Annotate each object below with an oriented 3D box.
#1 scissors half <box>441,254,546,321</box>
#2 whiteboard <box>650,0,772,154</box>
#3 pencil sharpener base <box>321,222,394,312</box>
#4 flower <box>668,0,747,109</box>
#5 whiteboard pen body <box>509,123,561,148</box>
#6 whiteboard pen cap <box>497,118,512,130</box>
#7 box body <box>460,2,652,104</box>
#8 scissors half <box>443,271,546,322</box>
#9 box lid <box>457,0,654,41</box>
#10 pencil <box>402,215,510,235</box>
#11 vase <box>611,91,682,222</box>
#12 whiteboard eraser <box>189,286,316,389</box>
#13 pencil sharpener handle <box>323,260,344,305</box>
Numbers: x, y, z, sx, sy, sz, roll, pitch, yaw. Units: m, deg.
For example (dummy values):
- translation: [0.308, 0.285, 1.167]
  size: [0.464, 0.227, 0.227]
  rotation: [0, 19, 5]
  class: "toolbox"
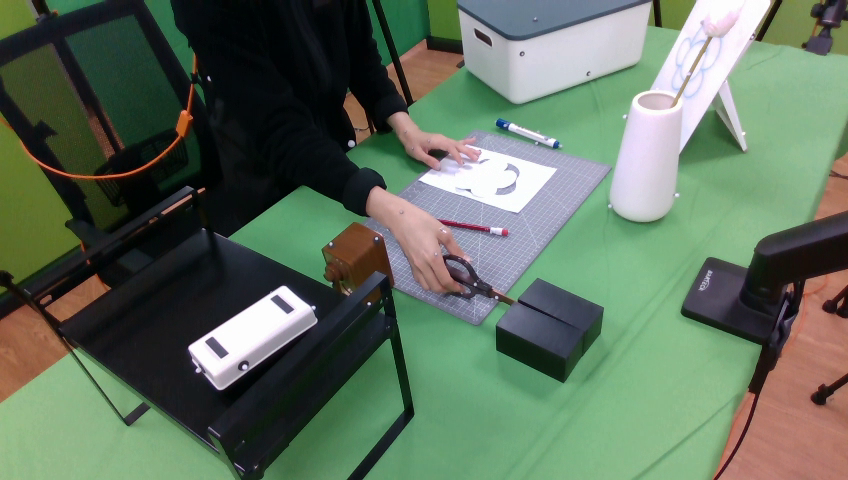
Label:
- translation: [0.092, 0.065, 0.824]
  size: [0.174, 0.040, 0.013]
  rotation: [32, 60, 25]
  class: "scissors half"
- translation: [0.543, -0.298, 1.076]
  size: [0.144, 0.305, 0.216]
  rotation: [12, 40, -7]
  class: "whiteboard"
- translation: [-0.096, 0.041, 0.873]
  size: [0.061, 0.107, 0.077]
  rotation: [25, 54, 32]
  class: "pencil sharpener base"
- translation: [0.354, -0.187, 0.879]
  size: [0.038, 0.362, 0.044]
  rotation: [30, 48, 14]
  class: "flower"
- translation: [0.208, -0.211, 1.196]
  size: [0.139, 0.017, 0.017]
  rotation: [30, 52, 33]
  class: "whiteboard pen body"
- translation: [0.165, -0.235, 1.227]
  size: [0.033, 0.018, 0.018]
  rotation: [31, 53, 31]
  class: "whiteboard pen cap"
- translation: [0.291, -0.465, 1.371]
  size: [0.365, 0.161, 0.252]
  rotation: [-22, 42, -16]
  class: "box body"
- translation: [0.094, 0.080, 0.838]
  size: [0.173, 0.040, 0.013]
  rotation: [21, 48, 40]
  class: "scissors half"
- translation: [0.285, -0.522, 1.323]
  size: [0.373, 0.015, 0.261]
  rotation: [-22, 43, -16]
  class: "box lid"
- translation: [0.049, -0.027, 1.007]
  size: [0.193, 0.012, 0.012]
  rotation: [10, 43, 21]
  class: "pencil"
- translation: [0.348, -0.125, 0.935]
  size: [0.098, 0.201, 0.097]
  rotation: [-3, 40, 3]
  class: "vase"
- translation: [-0.166, 0.096, 0.593]
  size: [0.113, 0.042, 0.055]
  rotation: [-36, 47, -29]
  class: "whiteboard eraser"
- translation: [-0.131, 0.062, 0.839]
  size: [0.035, 0.068, 0.031]
  rotation: [29, 55, 28]
  class: "pencil sharpener handle"
